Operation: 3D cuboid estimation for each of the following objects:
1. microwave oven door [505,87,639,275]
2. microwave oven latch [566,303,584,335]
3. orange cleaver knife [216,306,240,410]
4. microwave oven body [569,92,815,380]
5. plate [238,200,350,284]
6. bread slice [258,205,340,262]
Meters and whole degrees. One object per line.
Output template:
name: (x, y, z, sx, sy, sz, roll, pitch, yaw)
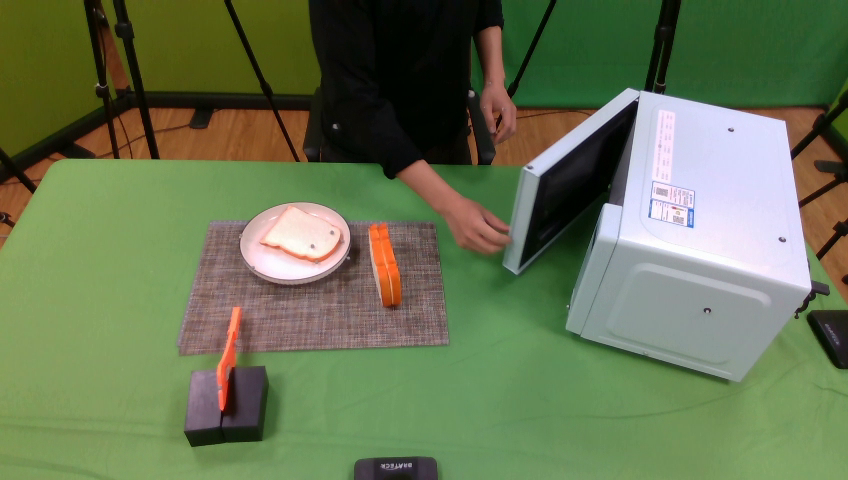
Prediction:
microwave oven door: (0.286, -0.117, 1.154, 0.039, 0.245, 0.355, 33, 53, 27)
microwave oven latch: (0.268, 0.126, 1.059, 0.030, 0.029, 0.079, 16, 46, 12)
orange cleaver knife: (-0.307, 0.180, 0.957, 0.012, 0.077, 0.210, -2, 25, -8)
microwave oven body: (0.468, -0.022, 1.082, 0.325, 0.261, 0.440, 15, 46, 11)
plate: (-0.245, 0.007, 1.156, 0.208, 0.039, 0.206, 2, 46, -2)
bread slice: (-0.232, -0.009, 1.168, 0.134, 0.018, 0.106, 19, 51, 10)
